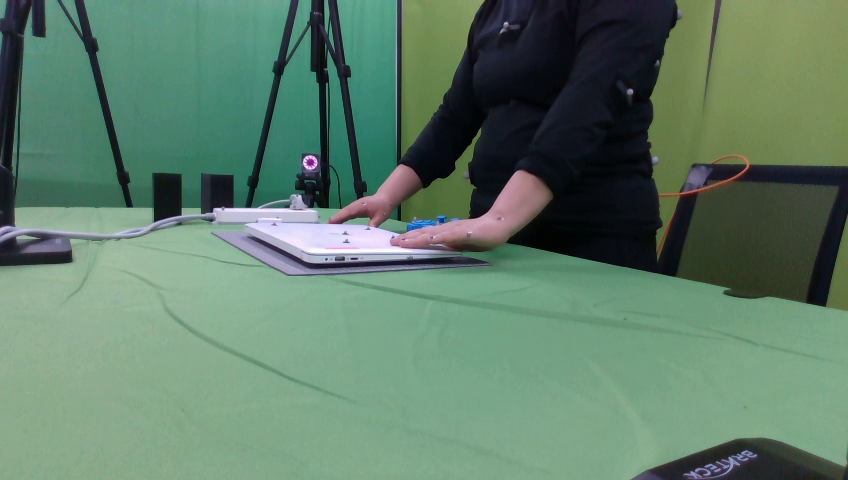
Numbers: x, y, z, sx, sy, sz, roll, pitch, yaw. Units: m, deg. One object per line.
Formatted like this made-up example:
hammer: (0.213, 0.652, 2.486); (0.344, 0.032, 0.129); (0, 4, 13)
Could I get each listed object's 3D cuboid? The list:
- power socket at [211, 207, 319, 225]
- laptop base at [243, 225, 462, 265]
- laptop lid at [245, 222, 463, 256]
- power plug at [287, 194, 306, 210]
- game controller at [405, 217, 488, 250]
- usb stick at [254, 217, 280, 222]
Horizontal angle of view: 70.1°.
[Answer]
power socket: (-0.334, -0.051, 1.281); (0.228, 0.032, 0.072); (-1, 9, -29)
laptop base: (-0.129, 0.007, 0.952); (0.237, 0.023, 0.352); (2, 6, -30)
laptop lid: (-0.126, -0.005, 0.951); (0.243, 0.013, 0.355); (1, 7, -28)
power plug: (-0.283, -0.075, 1.342); (0.035, 0.052, 0.072); (0, 3, -18)
game controller: (0.034, -0.013, 1.067); (0.097, 0.051, 0.154); (-6, 10, -29)
usb stick: (-0.296, -0.028, 1.114); (0.059, 0.027, 0.021); (-4, 12, -30)
